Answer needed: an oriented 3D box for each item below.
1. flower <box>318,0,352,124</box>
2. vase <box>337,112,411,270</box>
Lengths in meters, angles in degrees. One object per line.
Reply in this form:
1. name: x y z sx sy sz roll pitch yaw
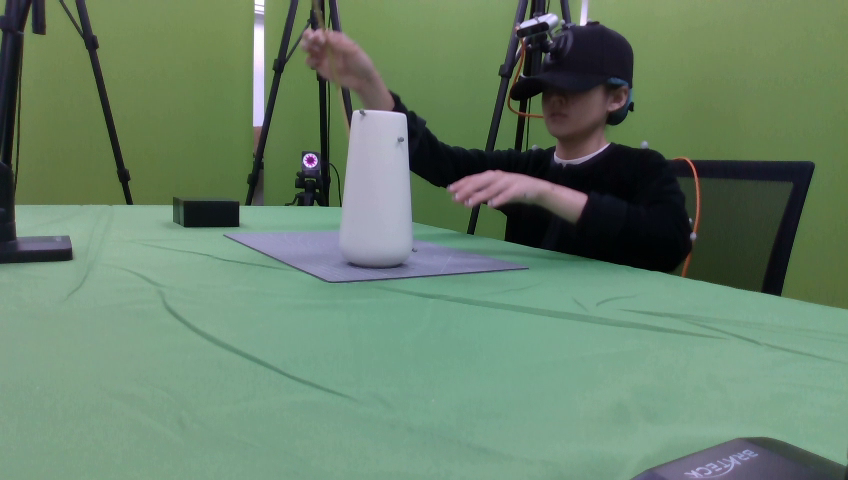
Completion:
1. flower: -0.140 -0.279 0.956 0.044 0.362 0.038 -15 28 -4
2. vase: -0.064 -0.064 0.790 0.098 0.200 0.098 2 7 0
